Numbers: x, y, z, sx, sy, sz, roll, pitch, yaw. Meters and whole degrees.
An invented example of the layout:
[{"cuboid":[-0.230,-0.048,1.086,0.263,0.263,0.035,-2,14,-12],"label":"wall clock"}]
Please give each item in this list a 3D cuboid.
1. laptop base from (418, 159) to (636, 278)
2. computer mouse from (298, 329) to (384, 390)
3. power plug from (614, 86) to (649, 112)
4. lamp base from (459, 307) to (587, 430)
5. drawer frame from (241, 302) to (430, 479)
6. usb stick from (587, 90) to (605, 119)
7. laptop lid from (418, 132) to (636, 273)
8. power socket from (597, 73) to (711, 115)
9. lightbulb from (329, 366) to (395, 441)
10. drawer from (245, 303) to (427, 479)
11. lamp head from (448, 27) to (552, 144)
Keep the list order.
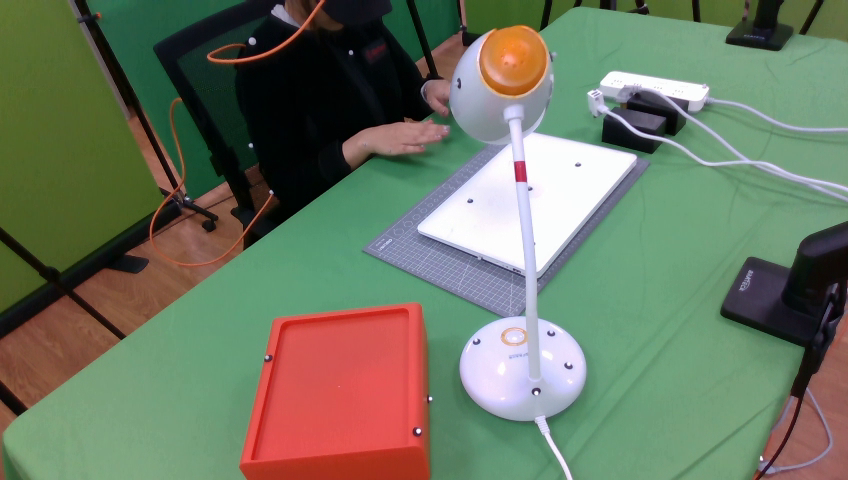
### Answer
[{"cuboid":[0.185,-0.074,1.042,0.233,0.023,0.355,19,47,35],"label":"laptop base"},{"cuboid":[-0.111,0.156,0.799,0.117,0.041,0.062,-15,41,1],"label":"computer mouse"},{"cuboid":[0.406,-0.275,1.192,0.035,0.053,0.072,-15,24,-16],"label":"power plug"},{"cuboid":[0.119,0.107,0.713,0.161,0.181,0.178,-14,42,-6],"label":"lamp base"},{"cuboid":[-0.095,0.184,0.739,0.202,0.083,0.212,-7,40,3],"label":"drawer frame"},{"cuboid":[0.334,-0.258,1.170,0.021,0.059,0.027,-28,44,-5],"label":"usb stick"},{"cuboid":[0.181,-0.084,1.036,0.239,0.013,0.358,22,49,35],"label":"laptop lid"},{"cuboid":[0.469,-0.304,1.249,0.225,0.033,0.072,20,49,30],"label":"power socket"},{"cuboid":[-0.081,0.195,0.738,0.060,0.060,0.107,-32,61,-25],"label":"lightbulb"},{"cuboid":[-0.097,0.184,0.743,0.194,0.073,0.210,-6,41,3],"label":"drawer"},{"cuboid":[0.082,-0.161,0.618,0.112,0.112,0.123,-10,2,0],"label":"lamp head"}]
